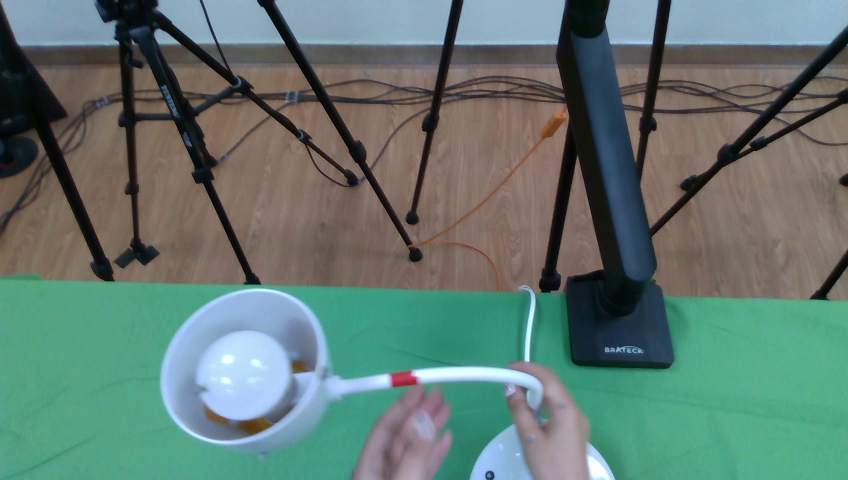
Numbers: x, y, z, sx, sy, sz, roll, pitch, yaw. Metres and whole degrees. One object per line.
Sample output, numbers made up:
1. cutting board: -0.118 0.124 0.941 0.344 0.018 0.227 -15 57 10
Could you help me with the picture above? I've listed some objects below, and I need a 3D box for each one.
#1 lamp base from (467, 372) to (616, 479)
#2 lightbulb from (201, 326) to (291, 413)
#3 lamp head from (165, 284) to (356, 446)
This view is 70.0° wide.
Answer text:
1. lamp base: 0.113 0.215 0.588 0.160 0.182 0.177 -13 53 0
2. lightbulb: -0.121 0.099 0.440 0.059 0.108 0.059 -1 65 3
3. lamp head: -0.114 0.106 0.463 0.112 0.124 0.111 -5 61 9
